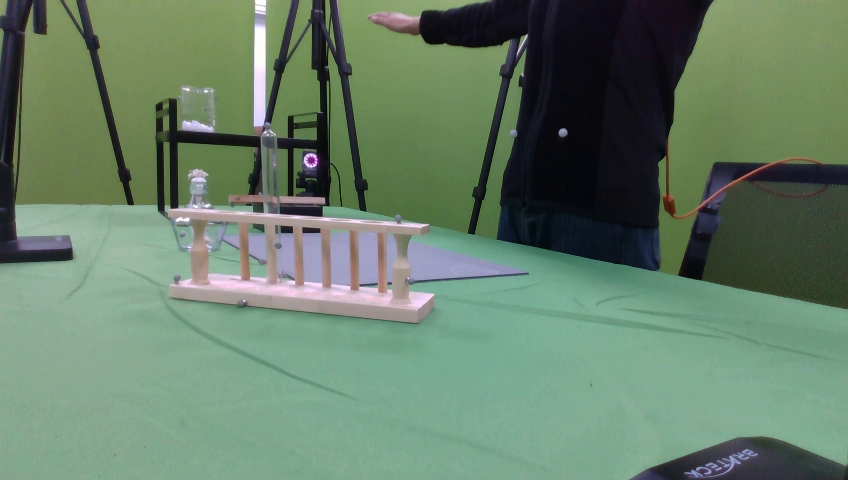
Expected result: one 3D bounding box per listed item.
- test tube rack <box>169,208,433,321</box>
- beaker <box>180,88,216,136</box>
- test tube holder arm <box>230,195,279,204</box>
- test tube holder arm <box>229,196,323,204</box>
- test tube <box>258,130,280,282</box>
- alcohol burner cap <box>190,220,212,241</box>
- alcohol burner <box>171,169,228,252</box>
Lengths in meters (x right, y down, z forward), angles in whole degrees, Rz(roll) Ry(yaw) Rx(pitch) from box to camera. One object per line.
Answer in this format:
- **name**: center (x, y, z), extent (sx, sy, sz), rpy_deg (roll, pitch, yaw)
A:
- **test tube rack**: center (-0.115, 0.018, 0.574), extent (0.242, 0.085, 0.067), rpy_deg (4, 8, 14)
- **beaker**: center (-0.498, -0.283, 1.339), extent (0.074, 0.100, 0.083), rpy_deg (-2, 9, -28)
- **test tube holder arm**: center (-0.311, -0.075, 1.115), extent (0.088, 0.015, 0.010), rpy_deg (-1, 0, -31)
- **test tube holder arm**: center (-0.275, -0.076, 1.143), extent (0.179, 0.015, 0.013), rpy_deg (-1, 0, -32)
- **test tube**: center (-0.152, -0.032, 0.596), extent (0.017, 0.150, 0.017), rpy_deg (0, 9, 0)
- **alcohol burner cap**: center (-0.365, -0.023, 0.988), extent (0.034, 0.048, 0.034), rpy_deg (2, 7, 0)
- **alcohol burner**: center (-0.325, -0.043, 0.875), extent (0.078, 0.119, 0.078), rpy_deg (1, 7, 0)
